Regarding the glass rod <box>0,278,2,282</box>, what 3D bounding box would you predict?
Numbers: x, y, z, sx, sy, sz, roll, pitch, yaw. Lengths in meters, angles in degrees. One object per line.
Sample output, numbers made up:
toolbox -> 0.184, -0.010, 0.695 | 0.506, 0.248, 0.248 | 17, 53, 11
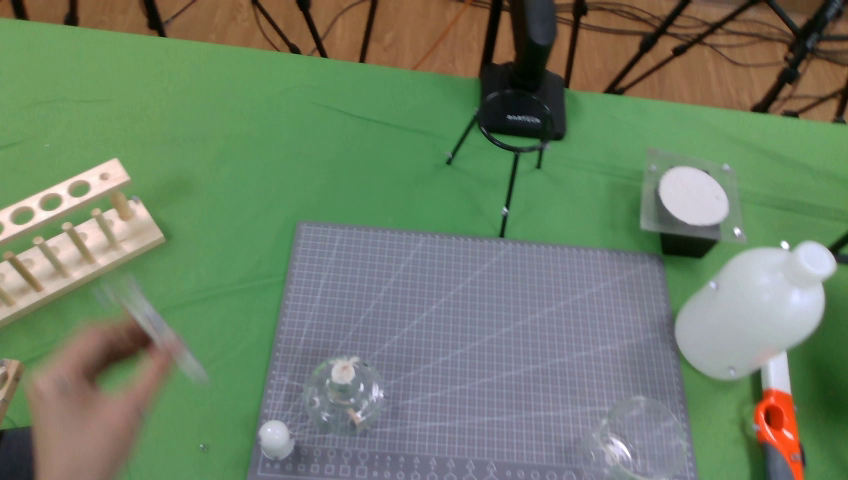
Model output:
glass rod -> -0.441, -0.018, 0.569 | 0.008, 0.201, 0.008 | 4, 50, -5

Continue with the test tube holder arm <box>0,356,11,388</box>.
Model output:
test tube holder arm -> -0.391, 0.185, 0.517 | 0.013, 0.015, 0.177 | 8, 59, -2

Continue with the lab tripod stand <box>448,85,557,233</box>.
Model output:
lab tripod stand -> 0.100, -0.103, 0.727 | 0.148, 0.132, 0.147 | 3, 61, -6

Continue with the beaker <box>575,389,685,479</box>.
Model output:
beaker -> 0.189, 0.194, 0.582 | 0.084, 0.101, 0.073 | 3, 59, -4

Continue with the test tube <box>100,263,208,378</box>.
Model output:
test tube -> -0.180, 0.061, 0.418 | 0.017, 0.151, 0.017 | -1, 56, 2

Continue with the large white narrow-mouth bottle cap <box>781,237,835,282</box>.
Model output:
large white narrow-mouth bottle cap -> 0.347, 0.017, 0.549 | 0.038, 0.024, 0.037 | 3, 60, -4

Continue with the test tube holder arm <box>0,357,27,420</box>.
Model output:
test tube holder arm -> -0.381, 0.148, 0.541 | 0.010, 0.015, 0.087 | 9, 59, -1

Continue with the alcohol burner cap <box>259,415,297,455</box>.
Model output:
alcohol burner cap -> -0.142, 0.186, 0.583 | 0.034, 0.048, 0.033 | 2, 60, -3

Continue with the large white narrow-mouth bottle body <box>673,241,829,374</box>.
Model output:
large white narrow-mouth bottle body -> 0.340, 0.062, 0.622 | 0.102, 0.196, 0.101 | 2, 59, -4

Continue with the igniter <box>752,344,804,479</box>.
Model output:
igniter -> 0.382, 0.170, 0.661 | 0.057, 0.025, 0.274 | 19, 59, -10

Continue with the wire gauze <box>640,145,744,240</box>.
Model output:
wire gauze -> 0.326, -0.058, 0.741 | 0.121, 0.011, 0.124 | 12, 59, 1

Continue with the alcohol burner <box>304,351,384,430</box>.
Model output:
alcohol burner -> -0.076, 0.138, 0.577 | 0.078, 0.120, 0.077 | 4, 59, -6

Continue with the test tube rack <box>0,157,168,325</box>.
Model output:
test tube rack -> -0.408, 0.013, 0.631 | 0.242, 0.086, 0.066 | -32, 68, -22
